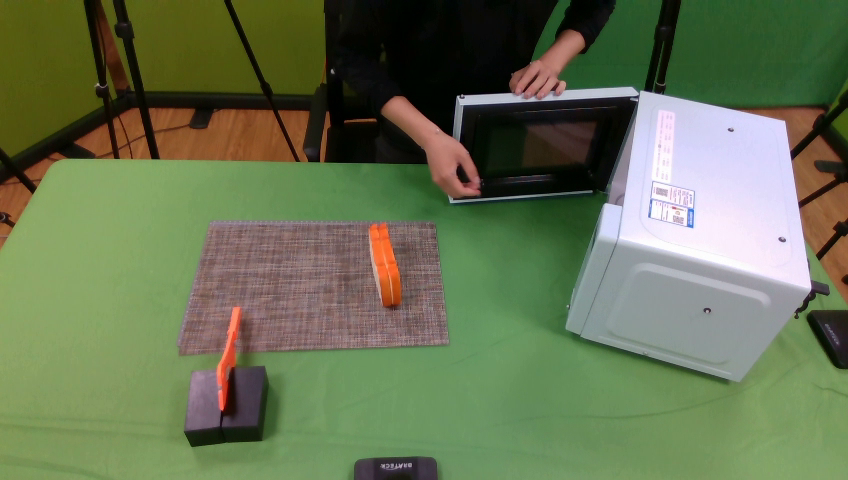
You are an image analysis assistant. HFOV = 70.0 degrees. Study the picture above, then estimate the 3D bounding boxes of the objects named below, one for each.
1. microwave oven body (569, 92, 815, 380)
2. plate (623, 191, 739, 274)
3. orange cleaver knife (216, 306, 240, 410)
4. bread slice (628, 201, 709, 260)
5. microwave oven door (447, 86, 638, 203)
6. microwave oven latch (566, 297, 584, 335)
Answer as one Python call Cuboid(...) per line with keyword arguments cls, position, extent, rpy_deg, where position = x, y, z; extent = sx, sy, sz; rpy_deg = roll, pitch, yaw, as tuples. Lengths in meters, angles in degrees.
Cuboid(cls="microwave oven body", position=(0.468, -0.021, 1.082), extent=(0.325, 0.261, 0.440), rpy_deg=(15, 46, 11))
Cuboid(cls="plate", position=(0.479, -0.011, 1.142), extent=(0.208, 0.039, 0.206), rpy_deg=(1, 46, 0))
Cuboid(cls="orange cleaver knife", position=(-0.307, 0.180, 0.957), extent=(0.012, 0.077, 0.210), rpy_deg=(-2, 25, -8))
Cuboid(cls="bread slice", position=(0.473, -0.025, 1.162), extent=(0.134, 0.018, 0.106), rpy_deg=(-26, 54, -16))
Cuboid(cls="microwave oven door", position=(0.230, -0.190, 1.220), extent=(0.356, 0.245, 0.039), rpy_deg=(-5, 47, -9))
Cuboid(cls="microwave oven latch", position=(0.268, 0.126, 1.059), extent=(0.030, 0.029, 0.079), rpy_deg=(15, 46, 12))
